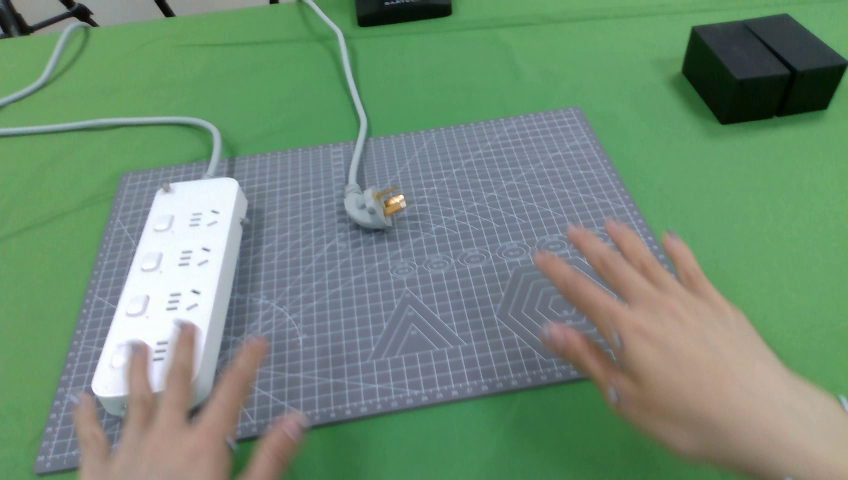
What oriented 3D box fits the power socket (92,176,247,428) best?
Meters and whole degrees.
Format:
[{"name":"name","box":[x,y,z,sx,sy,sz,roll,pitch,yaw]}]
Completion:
[{"name":"power socket","box":[-0.183,0.030,0.459,0.072,0.033,0.224,-5,46,-1]}]

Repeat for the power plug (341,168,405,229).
[{"name":"power plug","box":[-0.045,-0.043,0.506,0.052,0.035,0.072,-17,67,10]}]
